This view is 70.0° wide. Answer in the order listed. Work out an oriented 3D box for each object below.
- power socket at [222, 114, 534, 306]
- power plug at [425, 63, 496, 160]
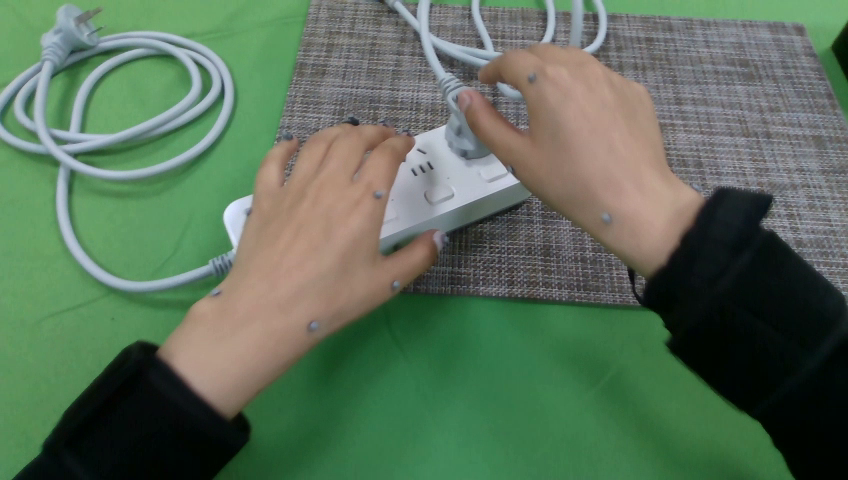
[{"bbox_3d":[-0.027,-0.026,0.415,0.227,0.033,0.071,-23,60,-15],"label":"power socket"},{"bbox_3d":[0.026,-0.087,0.430,0.035,0.053,0.072,-12,58,-9],"label":"power plug"}]
